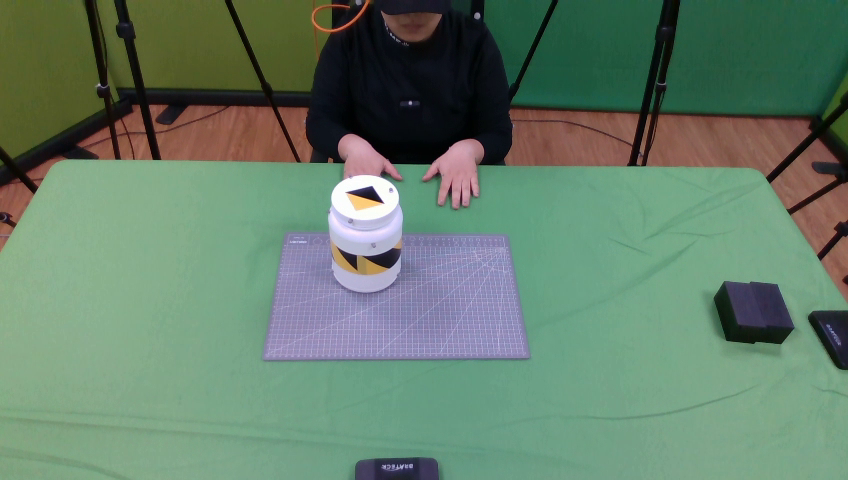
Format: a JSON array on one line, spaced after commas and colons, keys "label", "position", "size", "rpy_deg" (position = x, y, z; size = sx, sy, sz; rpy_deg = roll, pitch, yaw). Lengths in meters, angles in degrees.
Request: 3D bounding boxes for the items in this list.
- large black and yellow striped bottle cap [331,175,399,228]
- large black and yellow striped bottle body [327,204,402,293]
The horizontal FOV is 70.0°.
[{"label": "large black and yellow striped bottle cap", "position": [-0.099, -0.067, 1.022], "size": [0.115, 0.019, 0.114], "rpy_deg": [2, 47, -2]}, {"label": "large black and yellow striped bottle body", "position": [-0.105, -0.009, 1.083], "size": [0.131, 0.185, 0.130], "rpy_deg": [2, 46, -2]}]
